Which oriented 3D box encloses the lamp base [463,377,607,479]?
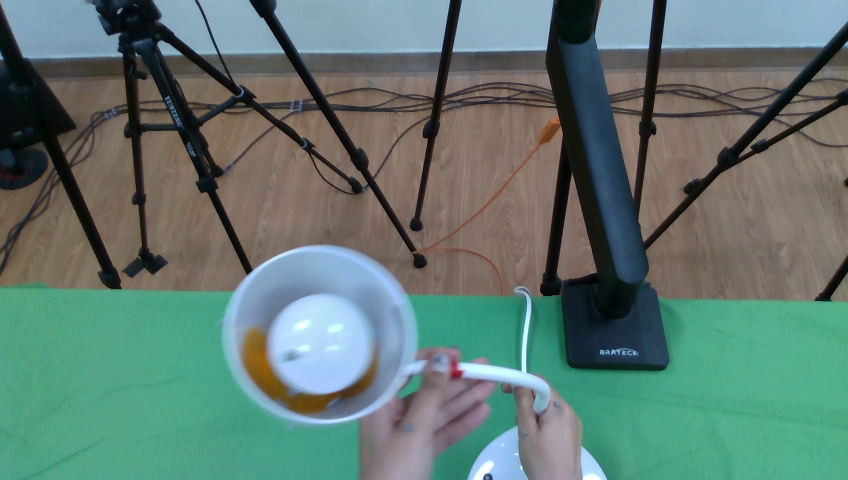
[{"bbox_3d":[0.114,0.222,0.598,0.161,0.182,0.177,-9,54,-2],"label":"lamp base"}]

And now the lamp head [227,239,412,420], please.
[{"bbox_3d":[-0.071,0.072,0.414,0.113,0.123,0.111,5,66,-10],"label":"lamp head"}]

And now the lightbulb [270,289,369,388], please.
[{"bbox_3d":[-0.070,0.068,0.389,0.060,0.108,0.059,7,67,-16],"label":"lightbulb"}]
